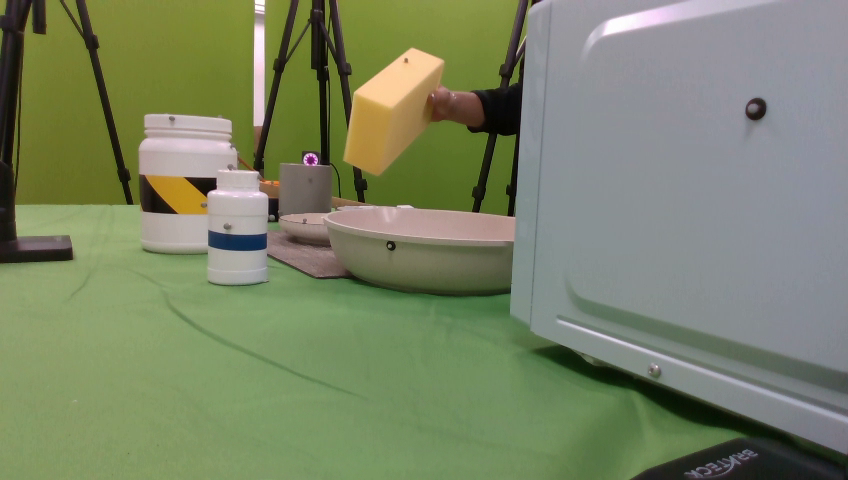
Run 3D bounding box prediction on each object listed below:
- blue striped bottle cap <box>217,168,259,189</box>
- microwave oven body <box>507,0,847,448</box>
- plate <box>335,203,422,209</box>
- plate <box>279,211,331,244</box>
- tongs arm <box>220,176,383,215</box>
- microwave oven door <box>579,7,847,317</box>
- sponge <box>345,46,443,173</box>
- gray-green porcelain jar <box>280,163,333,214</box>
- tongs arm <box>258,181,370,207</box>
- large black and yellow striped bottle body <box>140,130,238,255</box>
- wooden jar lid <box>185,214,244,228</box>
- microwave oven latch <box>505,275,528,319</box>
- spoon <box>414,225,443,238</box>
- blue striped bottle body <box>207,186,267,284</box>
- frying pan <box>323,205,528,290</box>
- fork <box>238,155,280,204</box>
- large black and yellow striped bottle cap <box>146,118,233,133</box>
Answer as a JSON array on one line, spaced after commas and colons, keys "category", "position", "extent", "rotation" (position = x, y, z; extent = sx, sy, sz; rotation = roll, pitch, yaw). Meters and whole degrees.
[{"category": "blue striped bottle cap", "position": [-0.202, -0.067, 0.657], "extent": [0.044, 0.020, 0.044], "rotation": [0, 10, 0]}, {"category": "microwave oven body", "position": [0.331, -0.042, 0.425], "extent": [0.444, 0.260, 0.324], "rotation": [-2, 8, -31]}, {"category": "plate", "position": [-0.089, -0.053, 1.309], "extent": [0.208, 0.039, 0.207], "rotation": [2, 8, 0]}, {"category": "plate", "position": [-0.139, -0.022, 1.021], "extent": [0.209, 0.038, 0.209], "rotation": [2, 8, 0]}, {"category": "tongs arm", "position": [-0.285, -0.104, 1.445], "extent": [0.389, 0.027, 0.028], "rotation": [9, -4, -23]}, {"category": "microwave oven door", "position": [0.294, -0.067, 0.570], "extent": [0.358, 0.243, 0.039], "rotation": [-3, 9, -31]}, {"category": "sponge", "position": [-0.044, -0.207, 0.937], "extent": [0.061, 0.118, 0.207], "rotation": [22, 40, 10]}, {"category": "gray-green porcelain jar", "position": [-0.238, -0.092, 1.221], "extent": [0.106, 0.126, 0.106], "rotation": [2, 7, 0]}, {"category": "tongs arm", "position": [-0.241, -0.095, 1.373], "extent": [0.387, 0.026, 0.050], "rotation": [9, 0, -37]}, {"category": "large black and yellow striped bottle body", "position": [-0.336, -0.078, 0.871], "extent": [0.131, 0.184, 0.130], "rotation": [2, 8, 0]}, {"category": "wooden jar lid", "position": [-0.404, -0.037, 1.169], "extent": [0.108, 0.020, 0.108], "rotation": [3, 7, 0]}, {"category": "microwave oven latch", "position": [0.100, 0.042, 0.472], "extent": [0.079, 0.029, 0.030], "rotation": [-2, 8, -30]}, {"category": "spoon", "position": [0.016, -0.020, 1.113], "extent": [0.041, 0.021, 0.194], "rotation": [-14, 3, 12]}, {"category": "blue striped bottle body", "position": [-0.204, -0.016, 0.663], "extent": [0.063, 0.120, 0.063], "rotation": [2, 7, 0]}, {"category": "frying pan", "position": [0.110, -0.018, 0.800], "extent": [0.490, 0.102, 0.305], "rotation": [-12, 16, -31]}, {"category": "fork", "position": [-0.396, -0.143, 1.486], "extent": [0.028, 0.018, 0.208], "rotation": [20, -26, 45]}, {"category": "large black and yellow striped bottle cap", "position": [-0.333, -0.163, 0.861], "extent": [0.115, 0.019, 0.115], "rotation": [1, 9, 0]}]
